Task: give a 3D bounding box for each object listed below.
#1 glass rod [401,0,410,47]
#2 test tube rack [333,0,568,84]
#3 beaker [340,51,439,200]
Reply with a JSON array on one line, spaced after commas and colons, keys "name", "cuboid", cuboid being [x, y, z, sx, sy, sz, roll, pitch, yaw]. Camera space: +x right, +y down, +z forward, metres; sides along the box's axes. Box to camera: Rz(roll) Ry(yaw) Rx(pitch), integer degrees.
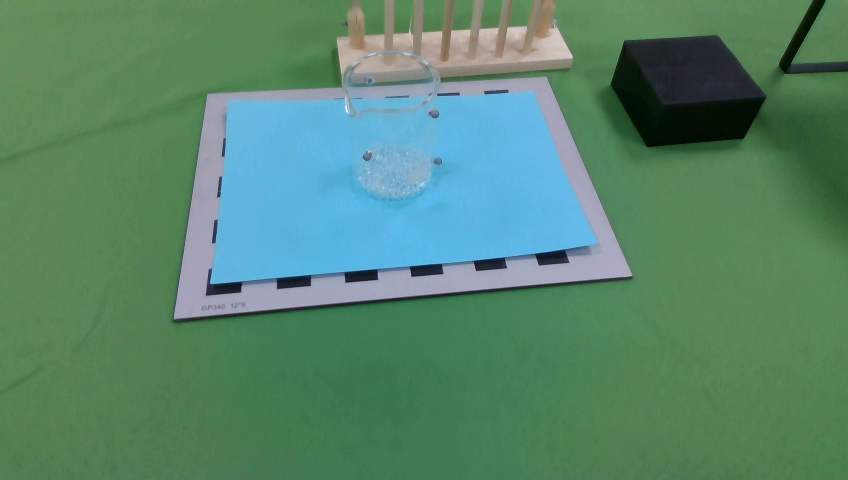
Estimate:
[{"name": "glass rod", "cuboid": [-0.005, -0.276, 0.575, 0.008, 0.201, 0.008, 7, 45, -7]}, {"name": "test tube rack", "cuboid": [0.029, -0.222, 0.617, 0.243, 0.086, 0.066, -6, 51, -8]}, {"name": "beaker", "cuboid": [-0.030, -0.087, 0.489, 0.073, 0.101, 0.084, 33, 57, 23]}]
